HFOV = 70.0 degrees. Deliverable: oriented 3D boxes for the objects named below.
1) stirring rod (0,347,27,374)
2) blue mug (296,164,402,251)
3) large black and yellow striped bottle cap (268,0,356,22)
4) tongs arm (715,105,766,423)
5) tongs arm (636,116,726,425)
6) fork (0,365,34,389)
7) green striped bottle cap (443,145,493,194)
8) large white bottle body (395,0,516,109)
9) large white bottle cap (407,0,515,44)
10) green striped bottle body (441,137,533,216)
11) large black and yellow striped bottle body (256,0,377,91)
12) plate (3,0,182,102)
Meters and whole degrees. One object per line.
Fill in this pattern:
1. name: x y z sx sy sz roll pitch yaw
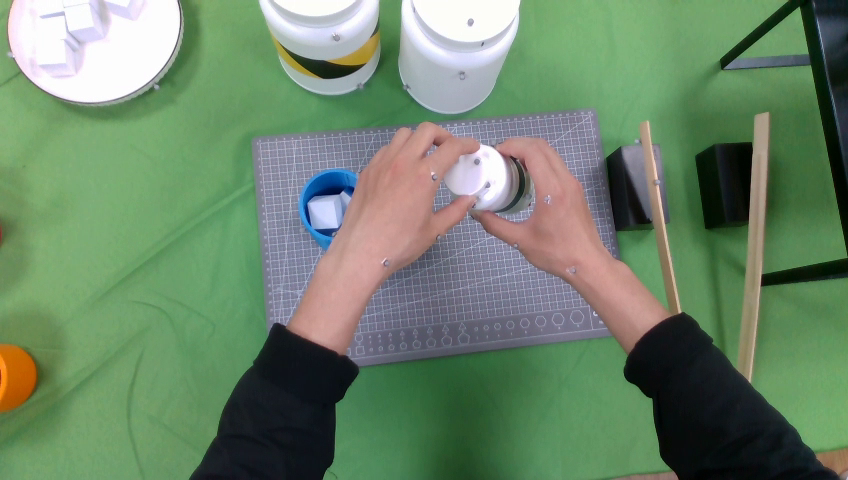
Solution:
1. stirring rod: -0.499 0.170 0.634 0.014 0.006 0.175 41 38 -1
2. blue mug: -0.085 -0.034 0.709 0.117 0.106 0.082 1 81 -4
3. large black and yellow striped bottle cap: -0.115 -0.281 0.620 0.115 0.019 0.114 1 83 -6
4. tongs arm: 0.391 0.031 0.741 0.028 0.027 0.387 3 93 -12
5. tongs arm: 0.310 0.039 0.731 0.051 0.026 0.385 -11 95 -8
6. fork: -0.526 0.135 0.631 0.209 0.018 0.028 21 75 -45
7. green striped bottle cap: 0.040 -0.065 0.556 0.044 0.020 0.044 2 95 27
8. large white bottle body: 0.034 -0.246 0.710 0.131 0.185 0.130 1 81 -4
9. large white bottle cap: 0.039 -0.260 0.627 0.115 0.018 0.114 1 81 -5
10. green striped bottle body: 0.061 -0.063 0.603 0.063 0.120 0.063 -4 81 29
11. large black and yellow striped bottle body: -0.120 -0.266 0.702 0.131 0.184 0.130 1 81 -4
12. plate: -0.405 -0.268 0.754 0.208 0.039 0.207 1 82 -4
